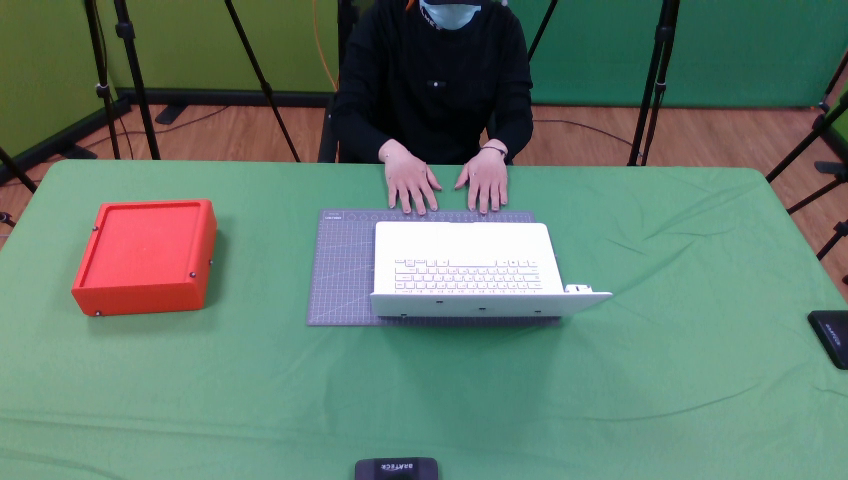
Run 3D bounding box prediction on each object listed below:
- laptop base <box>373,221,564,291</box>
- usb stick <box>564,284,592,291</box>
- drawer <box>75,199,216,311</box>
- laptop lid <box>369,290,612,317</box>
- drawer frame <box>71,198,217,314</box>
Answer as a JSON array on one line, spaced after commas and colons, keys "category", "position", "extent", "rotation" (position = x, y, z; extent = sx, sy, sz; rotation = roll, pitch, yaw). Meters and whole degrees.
[{"category": "laptop base", "position": [0.080, 0.050, 1.159], "extent": [0.355, 0.023, 0.234], "rotation": [0, 43, -4]}, {"category": "usb stick", "position": [0.276, 0.095, 1.113], "extent": [0.059, 0.027, 0.021], "rotation": [-1, 46, -6]}, {"category": "drawer", "position": [-0.494, 0.023, 1.098], "extent": [0.195, 0.073, 0.210], "rotation": [-2, 47, -8]}, {"category": "laptop lid", "position": [0.091, 0.104, 0.965], "extent": [0.357, 0.242, 0.013], "rotation": [1, 75, -5]}, {"category": "drawer frame", "position": [-0.493, 0.023, 1.096], "extent": [0.202, 0.083, 0.212], "rotation": [-3, 47, -8]}]
